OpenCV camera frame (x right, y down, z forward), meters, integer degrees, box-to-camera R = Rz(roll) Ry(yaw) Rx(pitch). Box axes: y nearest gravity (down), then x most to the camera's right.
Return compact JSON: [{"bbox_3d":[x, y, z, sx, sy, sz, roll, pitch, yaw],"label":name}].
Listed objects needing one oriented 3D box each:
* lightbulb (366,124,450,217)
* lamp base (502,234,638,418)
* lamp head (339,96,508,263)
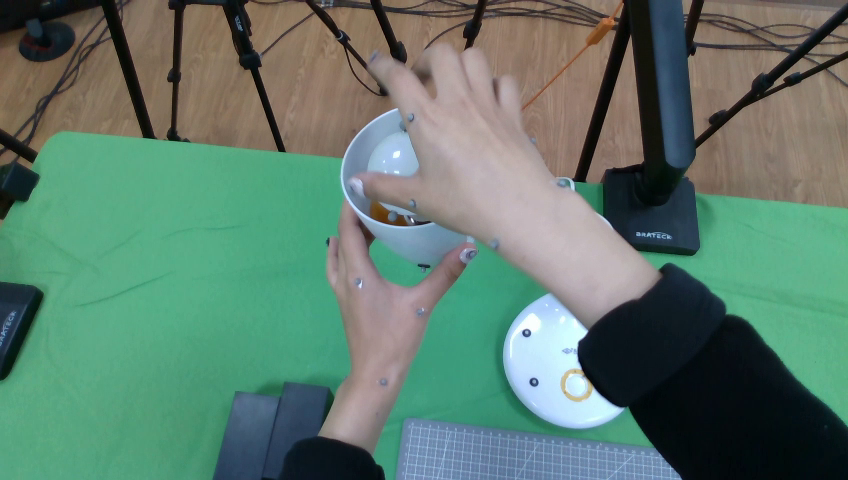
[{"bbox_3d":[-0.005,-0.043,0.454,0.059,0.108,0.059,-5,67,13],"label":"lightbulb"},{"bbox_3d":[0.171,0.085,0.660,0.161,0.182,0.177,-6,60,-3],"label":"lamp base"},{"bbox_3d":[0.007,-0.035,0.480,0.112,0.124,0.111,-8,61,14],"label":"lamp head"}]
